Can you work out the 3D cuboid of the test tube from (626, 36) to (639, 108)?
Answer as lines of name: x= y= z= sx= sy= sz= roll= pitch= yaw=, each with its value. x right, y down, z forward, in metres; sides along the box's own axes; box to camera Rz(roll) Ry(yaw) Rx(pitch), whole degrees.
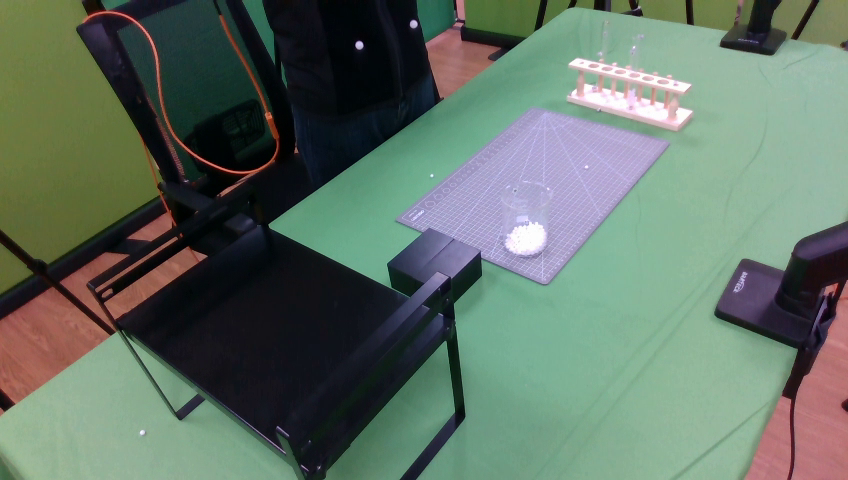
test tube: x=0.402 y=-0.321 z=1.167 sx=0.017 sy=0.151 sz=0.017 roll=-7 pitch=44 yaw=7

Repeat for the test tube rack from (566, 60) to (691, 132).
test tube rack: x=0.411 y=-0.299 z=1.217 sx=0.240 sy=0.085 sz=0.067 roll=26 pitch=51 yaw=33

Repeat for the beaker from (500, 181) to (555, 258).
beaker: x=0.158 y=-0.030 z=0.923 sx=0.084 sy=0.100 sz=0.073 roll=-13 pitch=41 yaw=-8

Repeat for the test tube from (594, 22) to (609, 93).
test tube: x=0.363 y=-0.371 z=1.238 sx=0.017 sy=0.151 sz=0.017 roll=-4 pitch=40 yaw=4
